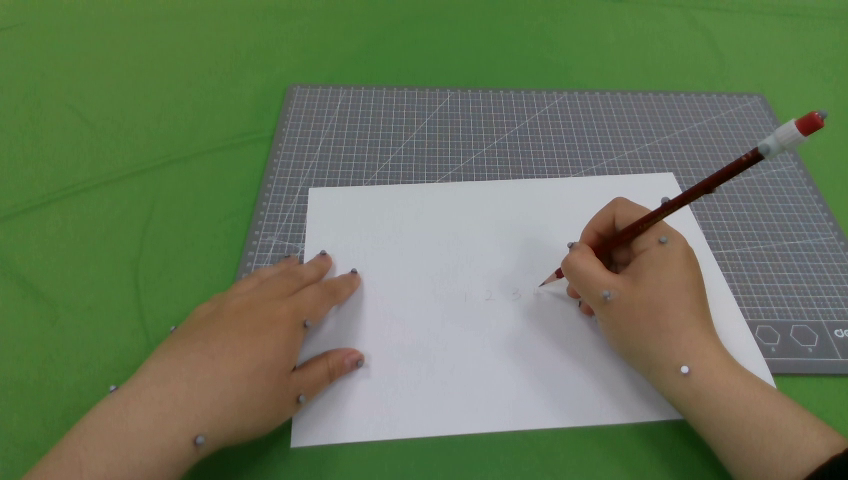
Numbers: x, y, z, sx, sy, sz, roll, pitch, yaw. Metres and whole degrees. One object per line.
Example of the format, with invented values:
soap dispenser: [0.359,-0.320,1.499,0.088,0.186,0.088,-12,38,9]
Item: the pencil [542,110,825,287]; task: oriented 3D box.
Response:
pencil: [0.132,-0.012,0.349,0.012,0.194,0.012,19,53,-26]
